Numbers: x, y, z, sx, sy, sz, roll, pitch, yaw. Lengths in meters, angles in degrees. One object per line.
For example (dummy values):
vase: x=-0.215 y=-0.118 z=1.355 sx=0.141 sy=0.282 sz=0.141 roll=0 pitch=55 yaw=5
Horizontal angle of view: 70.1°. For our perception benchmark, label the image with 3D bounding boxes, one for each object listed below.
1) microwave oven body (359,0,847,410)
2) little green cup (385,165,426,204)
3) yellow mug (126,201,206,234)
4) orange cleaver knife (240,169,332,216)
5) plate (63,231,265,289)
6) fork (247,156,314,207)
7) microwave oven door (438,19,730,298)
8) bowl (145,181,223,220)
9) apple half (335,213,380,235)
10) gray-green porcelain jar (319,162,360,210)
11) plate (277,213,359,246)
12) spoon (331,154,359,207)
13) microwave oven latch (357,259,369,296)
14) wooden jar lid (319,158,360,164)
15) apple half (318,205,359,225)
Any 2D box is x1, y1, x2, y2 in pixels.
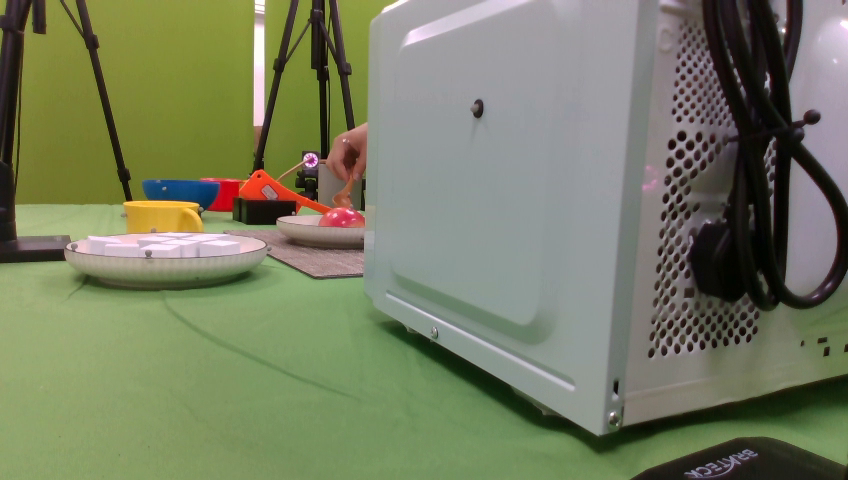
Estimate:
microwave oven body: x=0.210 y=-0.051 z=0.471 sx=0.444 sy=0.260 sz=0.324 roll=-1 pitch=7 yaw=-28
little green cup: x=-0.028 y=-0.090 z=0.986 sx=0.061 sy=0.038 sz=0.061 roll=-33 pitch=-13 yaw=-8
yellow mug: x=-0.360 y=-0.019 z=0.866 sx=0.130 sy=0.064 sz=0.100 roll=6 pitch=9 yaw=27
orange cleaver knife: x=-0.286 y=-0.082 z=1.298 sx=0.212 sy=0.077 sz=0.012 roll=25 pitch=-2 yaw=-31
plate: x=-0.288 y=0.021 z=0.687 sx=0.208 sy=0.039 sz=0.207 roll=2 pitch=8 yaw=0
fork: x=-0.360 y=-0.147 z=1.523 sx=0.207 sy=0.018 sz=0.028 roll=-43 pitch=15 yaw=-7
microwave oven door: x=0.181 y=-0.076 z=0.618 sx=0.358 sy=0.243 sz=0.039 roll=-2 pitch=8 yaw=-28
bowl: x=-0.499 y=-0.081 z=1.261 sx=0.151 sy=0.077 sz=0.151 roll=2 pitch=7 yaw=0
apple half: x=-0.112 y=-0.029 z=1.034 sx=0.081 sy=0.033 sz=0.081 roll=-1 pitch=10 yaw=0
gray-green porcelain jar: x=-0.204 y=-0.126 z=1.489 sx=0.106 sy=0.126 sz=0.106 roll=2 pitch=7 yaw=0
plate: x=-0.135 y=-0.018 z=0.993 sx=0.209 sy=0.038 sz=0.209 roll=2 pitch=7 yaw=0
spoon: x=-0.135 y=-0.108 z=1.100 sx=0.042 sy=0.021 sz=0.193 roll=25 pitch=37 yaw=-14
microwave oven latch: x=-0.019 y=0.031 z=0.529 sx=0.079 sy=0.029 sz=0.030 roll=-1 pitch=7 yaw=-26
wooden jar lid: x=-0.203 y=-0.189 z=1.482 sx=0.108 sy=0.020 sz=0.108 roll=2 pitch=10 yaw=0
apple half: x=-0.126 y=-0.028 z=0.954 sx=0.081 sy=0.053 sz=0.074 roll=-2 pitch=11 yaw=-33
